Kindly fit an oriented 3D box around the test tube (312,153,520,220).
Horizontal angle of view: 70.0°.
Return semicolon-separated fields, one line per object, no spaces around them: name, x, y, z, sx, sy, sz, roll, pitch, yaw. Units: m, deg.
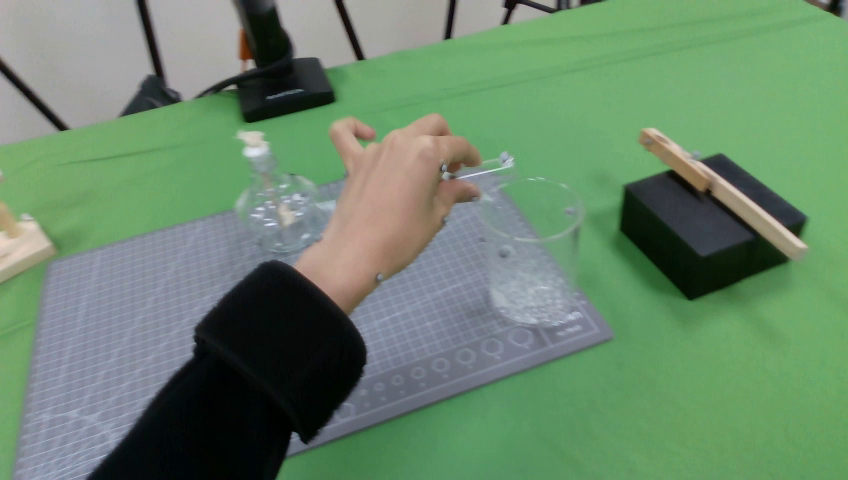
test tube;-0.008;-0.036;0.423;0.150;0.017;0.017;-13;42;10

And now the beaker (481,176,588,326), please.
beaker;0.082;0.011;0.471;0.083;0.101;0.074;28;53;34

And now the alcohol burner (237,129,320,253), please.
alcohol burner;-0.138;-0.047;0.554;0.078;0.120;0.077;-5;42;5

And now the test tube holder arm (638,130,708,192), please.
test tube holder arm;0.219;-0.070;0.530;0.010;0.015;0.087;-13;42;-19

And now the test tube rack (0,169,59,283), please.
test tube rack;-0.482;0.029;0.546;0.242;0.086;0.066;-35;49;-27

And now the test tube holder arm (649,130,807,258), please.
test tube holder arm;0.241;-0.045;0.501;0.013;0.015;0.176;-13;42;-19

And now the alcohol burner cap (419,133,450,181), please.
alcohol burner cap;0.009;-0.089;0.632;0.034;0.048;0.033;-4;43;4
